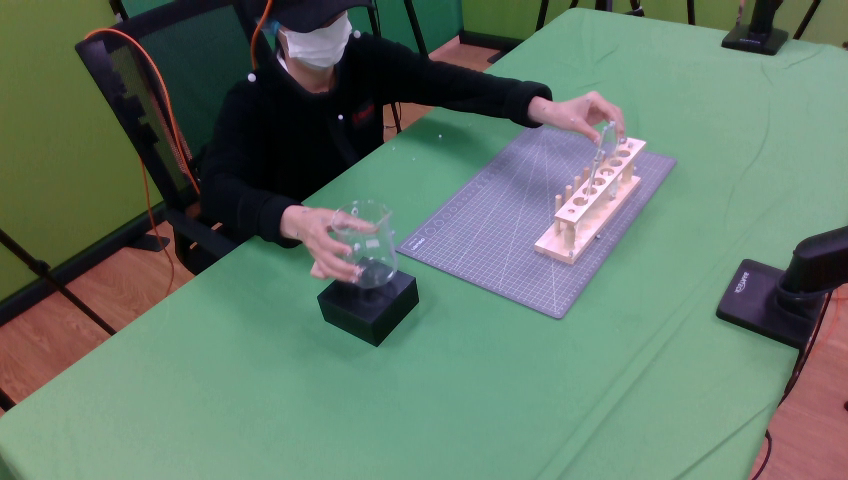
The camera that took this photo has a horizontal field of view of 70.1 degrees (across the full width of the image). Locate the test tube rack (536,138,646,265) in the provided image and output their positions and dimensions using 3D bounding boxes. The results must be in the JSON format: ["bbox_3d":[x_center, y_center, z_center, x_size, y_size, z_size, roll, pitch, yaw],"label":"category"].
[{"bbox_3d":[0.268,-0.071,0.964,0.066,0.085,0.243,23,49,32],"label":"test tube rack"}]

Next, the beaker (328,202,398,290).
[{"bbox_3d":[-0.075,0.010,0.808,0.084,0.101,0.073,-14,37,-4],"label":"beaker"}]

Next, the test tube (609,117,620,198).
[{"bbox_3d":[0.298,-0.126,0.947,0.017,0.151,0.017,-8,42,8],"label":"test tube"}]

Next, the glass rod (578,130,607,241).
[{"bbox_3d":[0.240,-0.072,0.866,0.008,0.200,0.008,0,44,1],"label":"glass rod"}]
